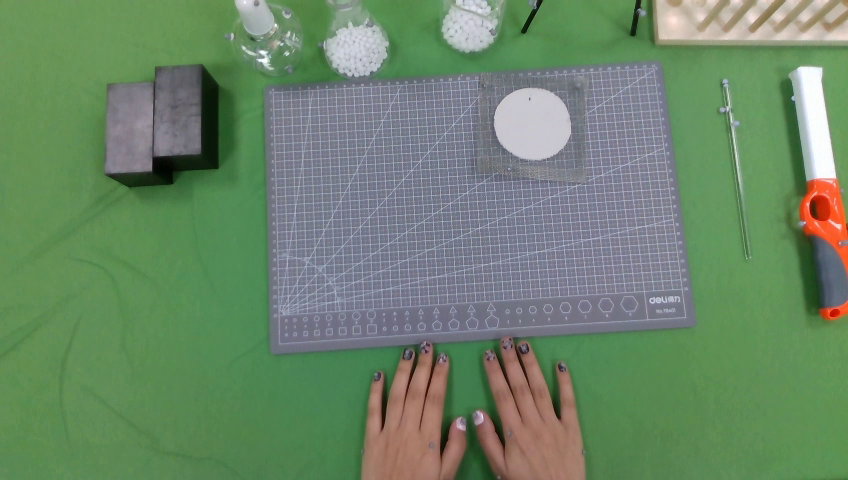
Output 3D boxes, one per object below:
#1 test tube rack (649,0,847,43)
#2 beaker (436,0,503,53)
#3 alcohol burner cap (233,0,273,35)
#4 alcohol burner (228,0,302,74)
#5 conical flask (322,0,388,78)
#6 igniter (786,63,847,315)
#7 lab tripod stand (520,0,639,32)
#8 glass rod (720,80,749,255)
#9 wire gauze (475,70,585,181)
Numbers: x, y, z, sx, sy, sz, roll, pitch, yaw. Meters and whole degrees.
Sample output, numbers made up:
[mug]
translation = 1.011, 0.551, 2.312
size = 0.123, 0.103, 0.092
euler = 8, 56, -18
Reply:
[test tube rack]
translation = 0.381, -0.266, 0.657
size = 0.242, 0.085, 0.066
euler = 0, 80, 1
[beaker]
translation = 0.050, -0.252, 0.651
size = 0.074, 0.100, 0.083
euler = -22, 81, -2
[alcohol burner cap]
translation = -0.173, -0.233, 0.605
size = 0.034, 0.048, 0.033
euler = 0, 74, 0
[alcohol burner]
translation = -0.172, -0.225, 0.640
size = 0.078, 0.119, 0.077
euler = 0, 81, 2
[conical flask]
translation = -0.079, -0.229, 0.636
size = 0.075, 0.122, 0.075
euler = 0, 80, 1
[igniter]
translation = 0.426, -0.058, 0.653
size = 0.057, 0.025, 0.275
euler = -1, 81, -9
[lab tripod stand]
translation = 0.174, -0.286, 0.638
size = 0.148, 0.132, 0.148
euler = 0, 83, 1
[glass rod]
translation = 0.341, -0.082, 0.668
size = 0.008, 0.008, 0.199
euler = -3, 81, 0
[wire gauze]
translation = 0.119, -0.130, 0.674
size = 0.125, 0.011, 0.121
euler = 4, 81, -2
